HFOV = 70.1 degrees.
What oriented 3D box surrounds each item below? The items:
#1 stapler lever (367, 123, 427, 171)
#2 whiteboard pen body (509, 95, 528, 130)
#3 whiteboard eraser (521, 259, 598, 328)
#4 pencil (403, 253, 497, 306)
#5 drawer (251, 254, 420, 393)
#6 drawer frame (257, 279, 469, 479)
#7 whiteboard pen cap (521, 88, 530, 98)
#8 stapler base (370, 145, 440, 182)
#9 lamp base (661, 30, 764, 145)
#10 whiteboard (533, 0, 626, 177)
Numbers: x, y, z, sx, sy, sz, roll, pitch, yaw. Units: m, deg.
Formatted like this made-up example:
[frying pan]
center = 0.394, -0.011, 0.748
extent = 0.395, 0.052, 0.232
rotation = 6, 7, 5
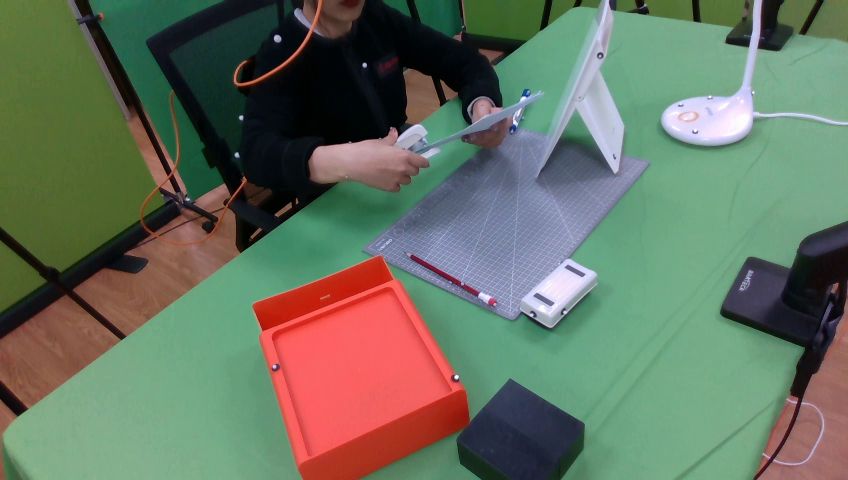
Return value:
[stapler lever]
center = -0.046, -0.156, 1.006
extent = 0.118, 0.040, 0.026
rotation = -31, 10, -19
[whiteboard pen body]
center = 0.200, -0.273, 1.261
extent = 0.017, 0.017, 0.140
rotation = 8, 45, 19
[whiteboard eraser]
center = 0.189, 0.076, 0.843
extent = 0.055, 0.042, 0.113
rotation = 29, 53, 37
[pencil]
center = 0.034, 0.056, 0.914
extent = 0.192, 0.012, 0.012
rotation = 27, 52, 38
[drawer]
center = -0.106, 0.134, 0.798
extent = 0.195, 0.073, 0.210
rotation = -20, 42, -14
[drawer frame]
center = -0.080, 0.169, 0.751
extent = 0.202, 0.083, 0.211
rotation = -21, 42, -15
[whiteboard pen cap]
center = 0.219, -0.312, 1.301
extent = 0.018, 0.018, 0.033
rotation = 6, 47, 17
[stapler base]
center = -0.034, -0.134, 1.012
extent = 0.131, 0.024, 0.041
rotation = -30, 10, -19
[lamp base]
center = 0.535, -0.287, 1.096
extent = 0.179, 0.181, 0.159
rotation = -10, 40, -4
[whiteboard]
center = 0.321, -0.258, 1.050
extent = 0.144, 0.306, 0.217
rotation = 21, 45, 5
